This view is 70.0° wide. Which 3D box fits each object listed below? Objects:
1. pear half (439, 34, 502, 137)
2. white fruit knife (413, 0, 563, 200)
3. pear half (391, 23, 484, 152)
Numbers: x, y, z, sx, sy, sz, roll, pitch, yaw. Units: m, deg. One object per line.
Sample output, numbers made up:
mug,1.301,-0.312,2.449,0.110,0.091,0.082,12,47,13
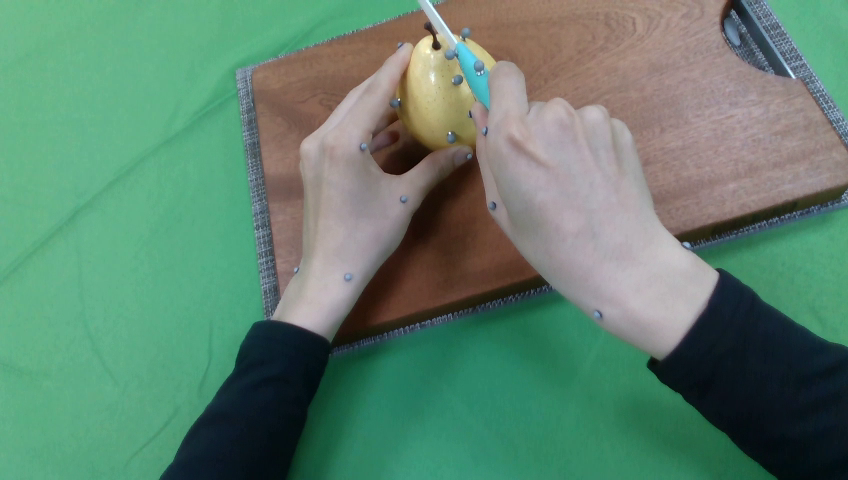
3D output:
pear half,0.037,-0.115,0.427,0.031,0.089,0.069,-29,56,-2
white fruit knife,0.024,-0.108,0.371,0.016,0.027,0.205,-30,65,-2
pear half,0.002,-0.104,0.418,0.056,0.111,0.075,-31,58,1
